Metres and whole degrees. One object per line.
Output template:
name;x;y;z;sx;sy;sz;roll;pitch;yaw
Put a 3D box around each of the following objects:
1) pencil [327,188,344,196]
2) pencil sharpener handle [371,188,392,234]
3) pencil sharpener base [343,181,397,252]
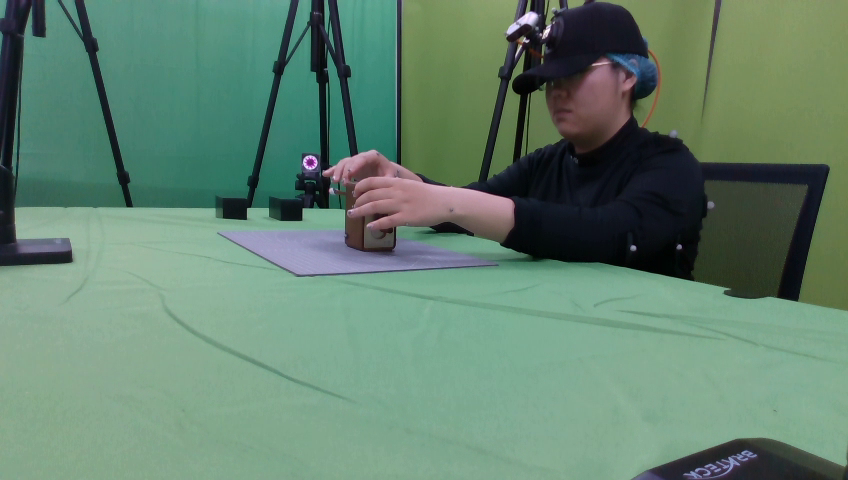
pencil;-0.124;-0.077;1.023;0.012;0.012;0.193;-1;9;-31
pencil sharpener handle;-0.059;-0.044;0.913;0.036;0.067;0.030;3;6;-33
pencil sharpener base;-0.086;-0.038;0.958;0.062;0.107;0.076;-2;9;-32
